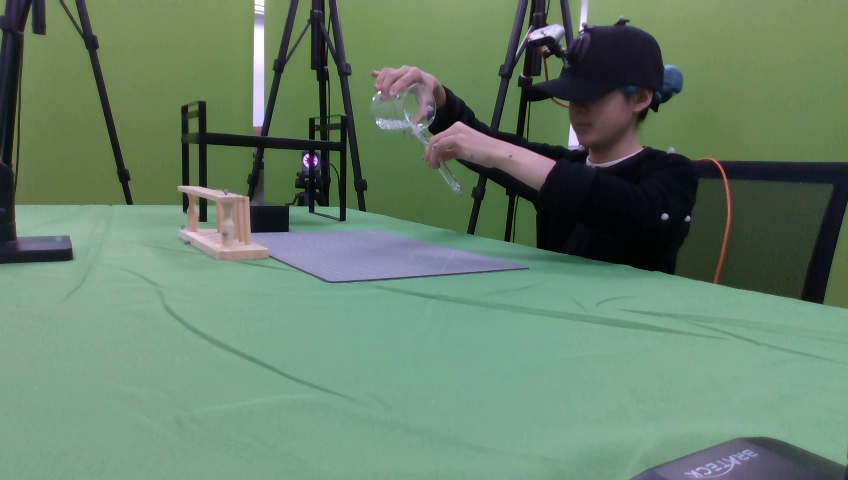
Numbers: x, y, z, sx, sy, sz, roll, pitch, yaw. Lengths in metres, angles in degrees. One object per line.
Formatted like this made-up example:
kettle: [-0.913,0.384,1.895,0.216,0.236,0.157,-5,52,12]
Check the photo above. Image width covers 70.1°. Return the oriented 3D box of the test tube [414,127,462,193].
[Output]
test tube: [0.022,-0.130,0.977,0.017,0.017,0.149,-3,49,-38]

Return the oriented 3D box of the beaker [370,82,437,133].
beaker: [-0.039,-0.225,1.046,0.074,0.084,0.100,4,3,-43]

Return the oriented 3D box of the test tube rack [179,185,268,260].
test tube rack: [-0.303,-0.031,0.898,0.067,0.085,0.241,-2,9,-33]
